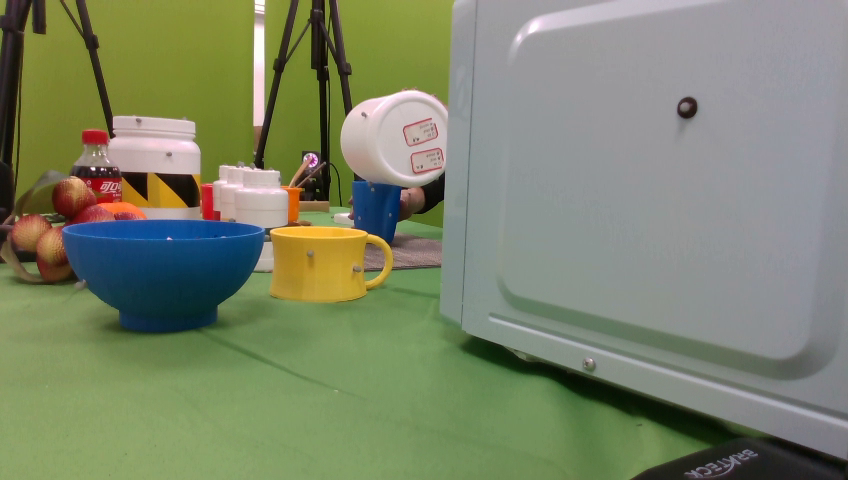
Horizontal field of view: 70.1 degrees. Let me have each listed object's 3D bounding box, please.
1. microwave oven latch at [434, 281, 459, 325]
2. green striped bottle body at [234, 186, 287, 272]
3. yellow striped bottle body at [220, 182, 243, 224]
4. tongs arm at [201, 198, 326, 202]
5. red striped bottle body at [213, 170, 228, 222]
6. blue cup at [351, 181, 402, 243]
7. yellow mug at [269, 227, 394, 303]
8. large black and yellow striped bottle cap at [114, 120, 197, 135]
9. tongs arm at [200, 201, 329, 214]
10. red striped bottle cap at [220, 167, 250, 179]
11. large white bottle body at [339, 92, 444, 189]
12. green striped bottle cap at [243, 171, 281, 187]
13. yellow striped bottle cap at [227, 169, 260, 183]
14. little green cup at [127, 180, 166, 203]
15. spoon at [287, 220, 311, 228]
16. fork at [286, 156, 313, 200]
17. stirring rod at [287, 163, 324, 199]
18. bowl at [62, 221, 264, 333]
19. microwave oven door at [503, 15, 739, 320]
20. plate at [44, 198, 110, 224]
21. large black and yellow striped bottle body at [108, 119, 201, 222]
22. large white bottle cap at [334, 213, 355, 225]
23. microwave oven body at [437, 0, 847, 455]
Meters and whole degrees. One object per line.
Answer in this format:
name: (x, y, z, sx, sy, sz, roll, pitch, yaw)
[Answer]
microwave oven latch: (0.044, 0.045, 0.470, 0.079, 0.029, 0.030, -2, 8, -39)
green striped bottle body: (-0.200, -0.023, 0.743, 0.063, 0.119, 0.063, 2, 7, 0)
yellow striped bottle body: (-0.246, -0.036, 0.825, 0.063, 0.120, 0.063, 3, 8, 0)
tongs arm: (-0.433, -0.090, 1.508, 0.390, 0.028, 0.028, -1, 2, -29)
red striped bottle body: (-0.283, -0.047, 0.909, 0.063, 0.119, 0.063, 2, 13, 0)
blue cup: (-0.079, -0.047, 1.010, 0.093, 0.100, 0.092, 1, 7, 0)
yellow mug: (-0.094, 0.023, 0.629, 0.131, 0.064, 0.099, 0, 7, -22)
large black and yellow striped bottle cap: (-0.407, -0.171, 0.920, 0.115, 0.019, 0.115, 2, 9, 0)
tongs arm: (-0.378, -0.079, 1.440, 0.387, 0.026, 0.050, -4, 8, -44)
red striped bottle cap: (-0.281, -0.100, 0.901, 0.044, 0.017, 0.044, -1, 5, 0)
large white bottle body: (-0.049, -0.147, 0.892, 0.131, 0.130, 0.184, -1, 9, -23)
green striped bottle cap: (-0.198, -0.074, 0.736, 0.044, 0.020, 0.044, 1, 7, 0)
yellow striped bottle cap: (-0.243, -0.086, 0.818, 0.044, 0.018, 0.044, 3, 6, 0)
little green cup: (-0.485, -0.086, 1.061, 0.061, 0.038, 0.061, 1, 7, 0)
spoon: (-0.232, -0.027, 1.116, 0.041, 0.021, 0.193, -22, 6, 4)
fork: (-0.288, -0.117, 1.319, 0.028, 0.019, 0.207, -8, 45, 33)
stirring rod: (-0.278, -0.105, 1.293, 0.176, 0.006, 0.014, -46, 25, -18)
bowl: (-0.209, 0.029, 0.496, 0.151, 0.077, 0.151, 2, 7, 0)
microwave oven door: (0.218, -0.065, 0.600, 0.358, 0.243, 0.039, -4, 10, -41)
plate: (-0.617, -0.056, 1.179, 0.209, 0.038, 0.209, 3, 7, 0)
large black and yellow striped bottle body: (-0.412, -0.088, 0.930, 0.131, 0.184, 0.130, 3, 7, 0)
large white bottle cap: (-0.145, -0.048, 1.355, 0.115, 0.018, 0.115, 2, 8, 0)
microwave oven body: (0.279, -0.040, 0.465, 0.444, 0.260, 0.324, -3, 9, -41)
